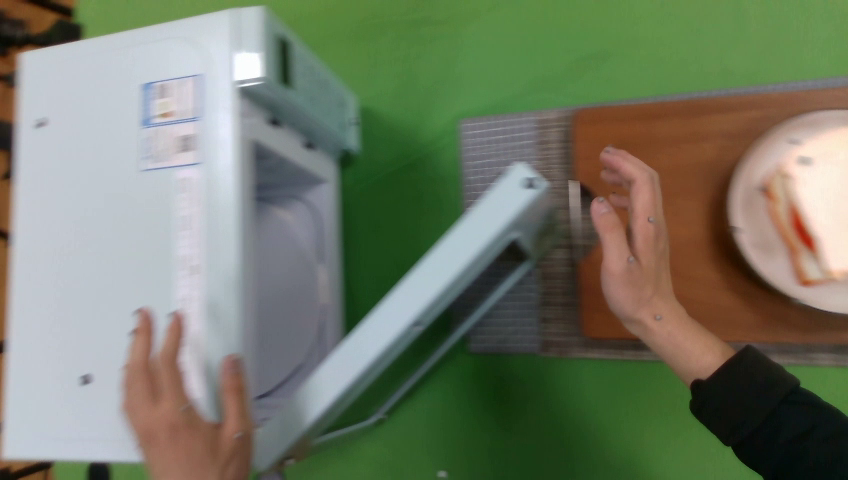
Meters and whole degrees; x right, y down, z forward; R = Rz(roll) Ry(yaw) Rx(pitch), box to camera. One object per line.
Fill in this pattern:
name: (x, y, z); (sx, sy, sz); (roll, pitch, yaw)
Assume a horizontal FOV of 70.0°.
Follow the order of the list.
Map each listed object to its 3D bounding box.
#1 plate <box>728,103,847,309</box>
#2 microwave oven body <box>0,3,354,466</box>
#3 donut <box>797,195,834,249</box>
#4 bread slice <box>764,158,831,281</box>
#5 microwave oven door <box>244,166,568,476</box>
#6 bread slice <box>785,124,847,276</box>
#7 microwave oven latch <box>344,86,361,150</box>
plate: (0.419, -0.033, 0.613); (0.207, 0.039, 0.207); (-2, 82, 16)
microwave oven body: (-0.262, 0.012, 0.709); (0.325, 0.261, 0.440); (-5, 81, 15)
donut: (0.412, -0.031, 0.583); (0.099, 0.048, 0.099); (-1, 85, 10)
bread slice: (0.412, -0.032, 0.619); (0.105, 0.019, 0.131); (-20, 81, 10)
microwave oven door: (0.002, 0.087, 0.619); (0.356, 0.245, 0.039); (-46, 72, 5)
bread slice: (0.400, -0.042, 0.558); (0.107, 0.018, 0.133); (-24, 70, 12)
microwave oven latch: (-0.099, -0.160, 0.790); (0.030, 0.029, 0.079); (-5, 81, 15)
